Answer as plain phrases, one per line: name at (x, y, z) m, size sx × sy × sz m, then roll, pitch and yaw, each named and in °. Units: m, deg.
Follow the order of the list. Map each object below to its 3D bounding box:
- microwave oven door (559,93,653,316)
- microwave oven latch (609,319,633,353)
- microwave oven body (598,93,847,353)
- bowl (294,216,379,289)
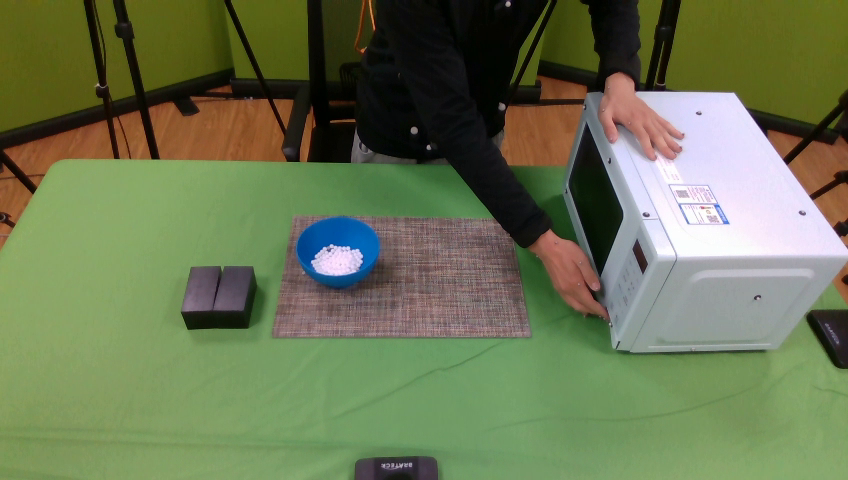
microwave oven door at (0.327, -0.074, 1.123) m, size 0.039 × 0.245 × 0.353 m, roll -1°, pitch 46°, yaw -5°
microwave oven latch at (0.337, 0.154, 1.043) m, size 0.030 × 0.029 × 0.078 m, roll 6°, pitch 45°, yaw 3°
microwave oven body at (0.476, -0.041, 1.110) m, size 0.326 × 0.261 × 0.438 m, roll -1°, pitch 45°, yaw -4°
bowl at (-0.158, 0.036, 1.110) m, size 0.151 × 0.077 × 0.150 m, roll 3°, pitch 45°, yaw -2°
